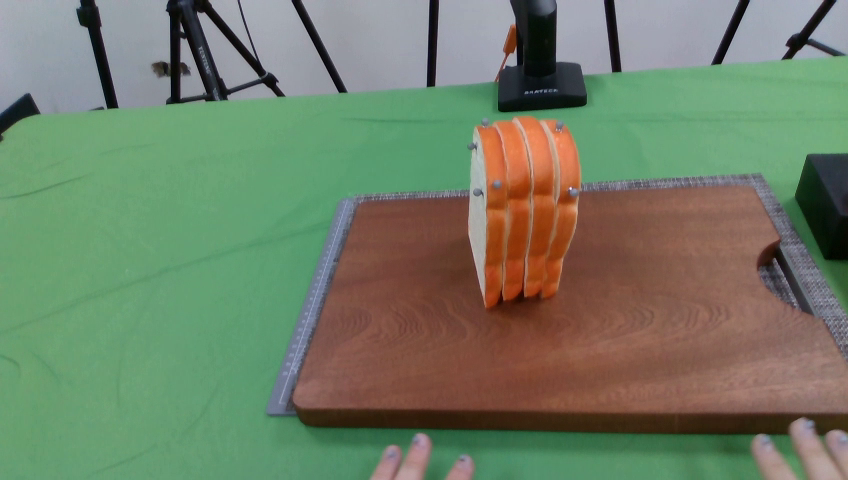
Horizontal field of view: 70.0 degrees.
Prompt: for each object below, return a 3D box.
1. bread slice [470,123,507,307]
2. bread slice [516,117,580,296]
[{"bbox_3d":[0.053,-0.029,0.511,0.018,0.135,0.106,-4,36,-2],"label":"bread slice"},{"bbox_3d":[0.103,-0.033,0.507,0.019,0.132,0.104,-1,41,-6],"label":"bread slice"}]
